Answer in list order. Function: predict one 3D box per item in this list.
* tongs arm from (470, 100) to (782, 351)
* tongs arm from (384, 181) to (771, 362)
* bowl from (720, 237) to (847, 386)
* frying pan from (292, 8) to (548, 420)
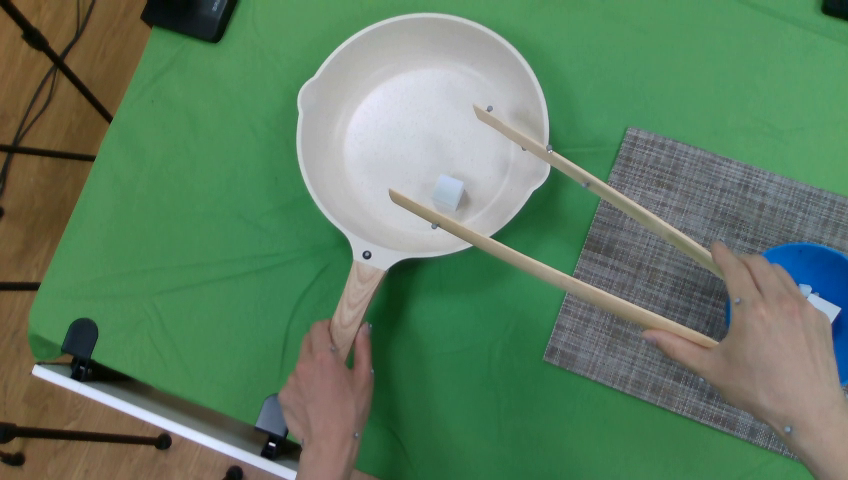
[{"bbox_3d":[0.162,-0.035,0.578,0.051,0.027,0.381,-41,56,-14],"label":"tongs arm"},{"bbox_3d":[0.110,0.018,0.559,0.384,0.028,0.028,27,64,29],"label":"tongs arm"},{"bbox_3d":[0.384,0.077,0.647,0.151,0.077,0.151,-1,81,5],"label":"bowl"},{"bbox_3d":[-0.043,-0.032,0.695,0.306,0.103,0.486,21,76,9],"label":"frying pan"}]
